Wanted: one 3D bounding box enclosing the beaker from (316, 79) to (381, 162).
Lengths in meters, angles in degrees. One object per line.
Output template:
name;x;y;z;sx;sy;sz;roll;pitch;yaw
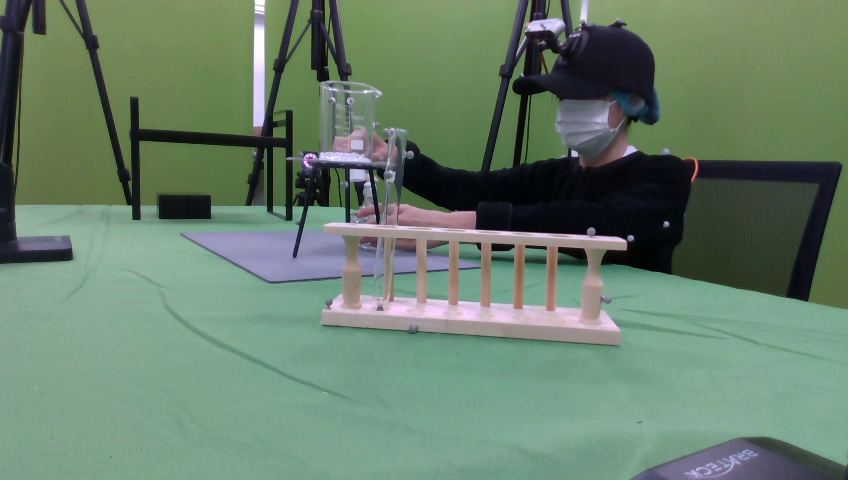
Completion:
beaker;-0.098;-0.151;0.778;0.084;0.100;0.074;4;7;6

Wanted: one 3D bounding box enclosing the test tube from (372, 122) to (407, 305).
test tube;-0.029;-0.020;0.493;0.017;0.150;0.017;6;9;-1

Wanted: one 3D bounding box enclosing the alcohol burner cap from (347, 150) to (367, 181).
alcohol burner cap;-0.106;-0.118;0.953;0.034;0.048;0.034;0;-1;0

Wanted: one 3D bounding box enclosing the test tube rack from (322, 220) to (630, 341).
test tube rack;0.041;0.029;0.512;0.242;0.085;0.067;3;7;5

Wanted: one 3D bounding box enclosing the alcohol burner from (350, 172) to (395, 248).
alcohol burner;-0.084;-0.048;0.953;0.078;0.119;0.078;0;6;0

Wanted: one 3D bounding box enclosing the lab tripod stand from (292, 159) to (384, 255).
lab tripod stand;-0.105;-0.039;0.797;0.148;0.131;0.148;2;5;0

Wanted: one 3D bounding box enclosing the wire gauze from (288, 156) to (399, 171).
wire gauze;-0.101;-0.103;0.788;0.121;0.011;0.125;5;4;5
